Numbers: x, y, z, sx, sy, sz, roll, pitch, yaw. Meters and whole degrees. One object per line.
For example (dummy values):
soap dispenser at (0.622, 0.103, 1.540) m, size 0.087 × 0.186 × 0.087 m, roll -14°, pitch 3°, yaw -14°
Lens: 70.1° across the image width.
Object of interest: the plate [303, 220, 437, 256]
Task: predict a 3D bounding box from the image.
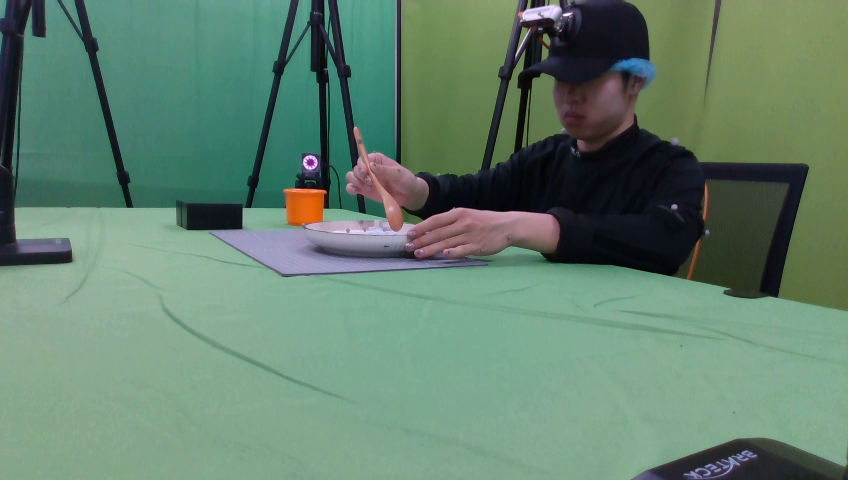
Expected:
plate at (-0.084, -0.003, 0.951) m, size 0.209 × 0.038 × 0.209 m, roll 3°, pitch 7°, yaw 0°

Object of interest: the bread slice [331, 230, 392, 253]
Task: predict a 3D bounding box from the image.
bread slice at (-0.088, 0.000, 0.947) m, size 0.105 × 0.019 × 0.131 m, roll -4°, pitch 11°, yaw -45°

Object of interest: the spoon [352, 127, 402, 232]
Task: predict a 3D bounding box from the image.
spoon at (-0.078, -0.099, 0.953) m, size 0.021 × 0.193 × 0.042 m, roll -38°, pitch -22°, yaw 27°
